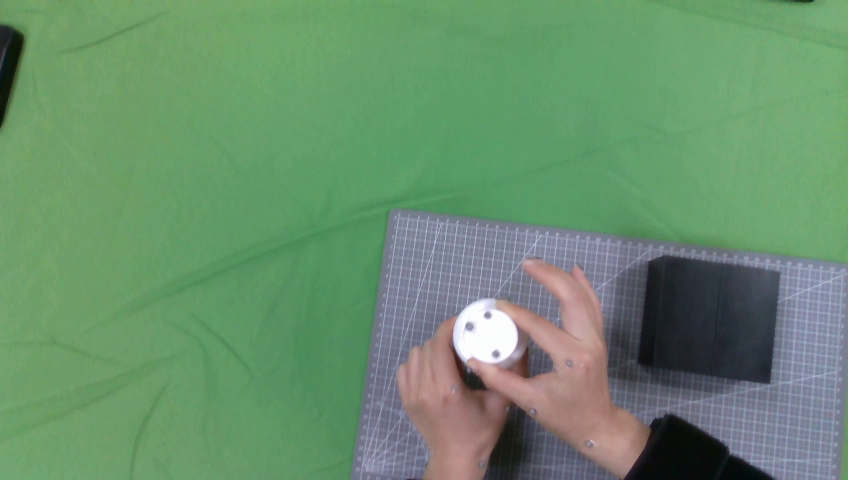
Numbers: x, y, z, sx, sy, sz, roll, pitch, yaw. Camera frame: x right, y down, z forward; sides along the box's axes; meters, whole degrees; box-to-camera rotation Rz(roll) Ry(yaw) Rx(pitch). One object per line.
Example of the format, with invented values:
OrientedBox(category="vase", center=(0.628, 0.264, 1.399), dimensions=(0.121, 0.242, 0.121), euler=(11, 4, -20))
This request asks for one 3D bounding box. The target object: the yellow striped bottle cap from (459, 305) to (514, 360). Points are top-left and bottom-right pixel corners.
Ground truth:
OrientedBox(category="yellow striped bottle cap", center=(0.049, 0.074, 0.483), dimensions=(0.044, 0.019, 0.044), euler=(-1, 84, 7))

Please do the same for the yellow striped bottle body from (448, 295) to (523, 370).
OrientedBox(category="yellow striped bottle body", center=(0.053, 0.081, 0.535), dimensions=(0.063, 0.120, 0.062), euler=(0, 83, 4))
